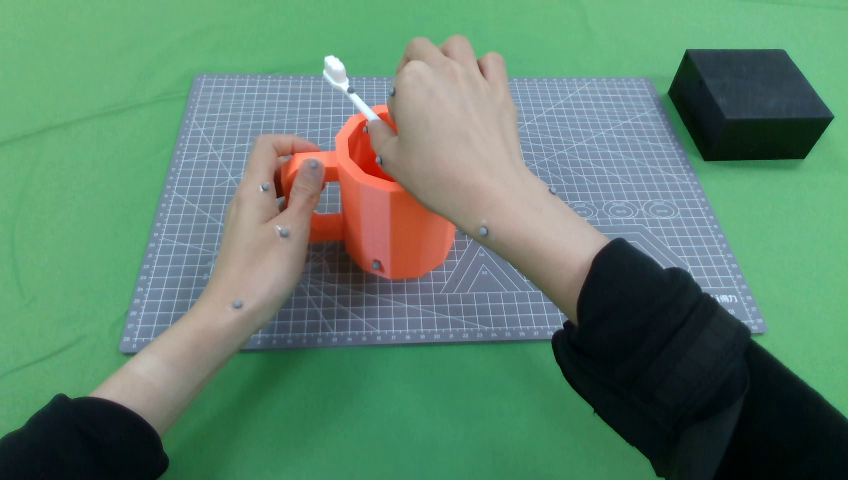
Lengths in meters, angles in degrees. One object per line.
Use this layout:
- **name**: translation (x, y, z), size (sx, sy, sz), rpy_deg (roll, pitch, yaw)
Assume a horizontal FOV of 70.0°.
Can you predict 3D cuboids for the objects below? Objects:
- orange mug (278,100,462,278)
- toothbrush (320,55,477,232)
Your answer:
- **orange mug**: translation (-0.038, -0.034, 0.431), size (0.126, 0.101, 0.082), rpy_deg (-3, 52, -11)
- **toothbrush**: translation (-0.022, -0.068, 0.392), size (0.014, 0.017, 0.180), rpy_deg (-24, 57, -26)
